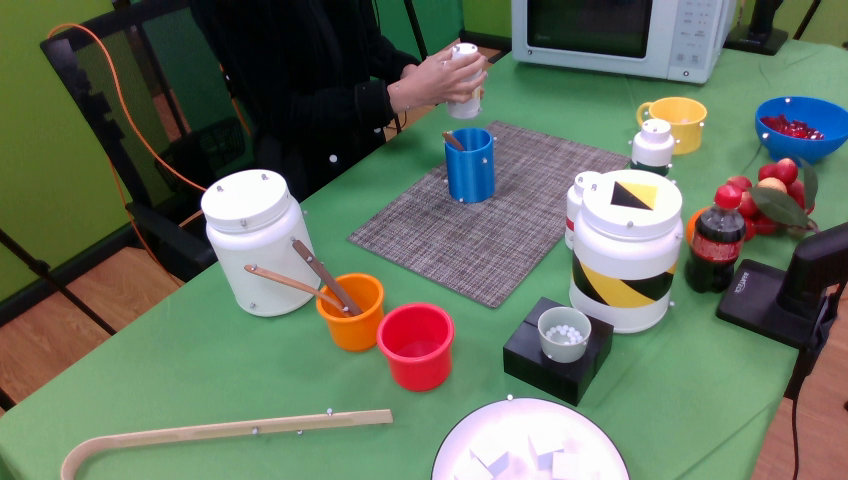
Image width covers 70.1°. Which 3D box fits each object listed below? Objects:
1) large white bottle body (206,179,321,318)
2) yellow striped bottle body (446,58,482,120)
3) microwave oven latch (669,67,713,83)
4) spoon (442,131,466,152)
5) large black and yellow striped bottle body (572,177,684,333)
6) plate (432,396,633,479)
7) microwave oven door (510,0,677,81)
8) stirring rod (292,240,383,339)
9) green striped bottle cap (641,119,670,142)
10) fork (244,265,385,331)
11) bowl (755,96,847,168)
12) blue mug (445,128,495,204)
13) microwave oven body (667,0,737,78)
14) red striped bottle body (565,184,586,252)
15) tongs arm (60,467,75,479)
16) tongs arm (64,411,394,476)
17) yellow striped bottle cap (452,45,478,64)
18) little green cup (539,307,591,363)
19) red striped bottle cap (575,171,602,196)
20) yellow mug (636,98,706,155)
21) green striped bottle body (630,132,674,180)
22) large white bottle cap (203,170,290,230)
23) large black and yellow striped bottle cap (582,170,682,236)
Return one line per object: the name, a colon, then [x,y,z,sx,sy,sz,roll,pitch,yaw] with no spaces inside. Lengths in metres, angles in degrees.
large white bottle body: [-0.233,0.007,0.876,0.130,0.185,0.130,-5,40,4]
yellow striped bottle body: [0.072,-0.283,1.084,0.063,0.120,0.062,0,39,0]
microwave oven latch: [0.556,-0.348,1.262,0.078,0.029,0.030,15,46,26]
spoon: [0.062,-0.144,1.000,0.041,0.195,0.021,11,79,23]
large black and yellow striped bottle body: [0.262,0.017,0.788,0.131,0.185,0.130,-5,40,4]
plate: [0.112,0.261,0.634,0.209,0.038,0.208,-5,40,4]
microwave oven door: [0.353,-0.478,1.290,0.353,0.245,0.039,15,45,25]
stirring rod: [-0.118,0.068,0.826,0.176,0.006,0.014,49,60,-4]
green striped bottle cap: [0.371,-0.175,0.968,0.044,0.020,0.044,-5,41,5]
fork: [-0.142,0.078,0.806,0.209,0.018,0.028,30,33,-23]
bowl: [0.645,-0.177,1.041,0.151,0.077,0.150,-5,40,4]
blue mug: [0.081,-0.139,1.058,0.082,0.106,0.116,-4,40,4]
microwave oven body: [0.462,-0.552,1.369,0.439,0.261,0.326,15,45,26]
red striped bottle body: [0.247,-0.041,0.910,0.063,0.120,0.062,-3,39,3]
tongs arm: [-0.239,0.301,0.649,0.386,0.028,0.028,6,49,16]
tongs arm: [-0.228,0.241,0.715,0.385,0.026,0.050,-5,44,4]
yellow striped bottle cap: [0.071,-0.324,1.052,0.044,0.019,0.044,0,39,0]
little green cup: [0.167,0.114,0.721,0.061,0.039,0.061,-4,43,4]
red striped bottle cap: [0.242,-0.082,0.876,0.044,0.018,0.044,-5,44,5]
yellow mug: [0.453,-0.217,1.128,0.100,0.064,0.129,-34,46,-27]
green striped bottle body: [0.376,-0.135,1.001,0.063,0.120,0.063,-5,40,5]
large white bottle cap: [-0.241,-0.057,0.822,0.115,0.018,0.114,-4,40,4]
large black and yellow striped bottle cap: [0.252,-0.048,0.735,0.115,0.019,0.114,-3,40,3]
